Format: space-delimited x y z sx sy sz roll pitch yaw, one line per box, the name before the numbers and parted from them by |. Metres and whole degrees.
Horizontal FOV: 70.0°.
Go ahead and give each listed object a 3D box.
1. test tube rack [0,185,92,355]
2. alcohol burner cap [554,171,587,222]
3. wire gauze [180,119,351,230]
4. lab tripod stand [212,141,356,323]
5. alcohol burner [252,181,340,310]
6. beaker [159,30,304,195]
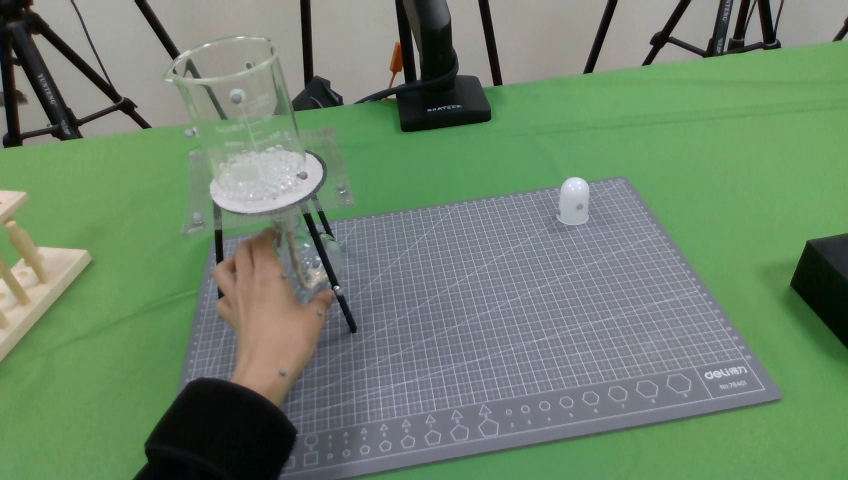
test tube rack | -0.404 0.058 0.521 0.066 0.086 0.240 4 41 11
alcohol burner cap | 0.147 -0.046 0.604 0.034 0.048 0.033 -4 40 4
wire gauze | -0.125 -0.053 0.473 0.125 0.011 0.120 -14 39 -5
lab tripod stand | -0.120 -0.004 0.516 0.148 0.133 0.147 -4 42 4
alcohol burner | -0.114 0.002 0.524 0.078 0.120 0.077 -4 39 4
beaker | -0.134 -0.089 0.441 0.084 0.101 0.073 -13 40 -6
